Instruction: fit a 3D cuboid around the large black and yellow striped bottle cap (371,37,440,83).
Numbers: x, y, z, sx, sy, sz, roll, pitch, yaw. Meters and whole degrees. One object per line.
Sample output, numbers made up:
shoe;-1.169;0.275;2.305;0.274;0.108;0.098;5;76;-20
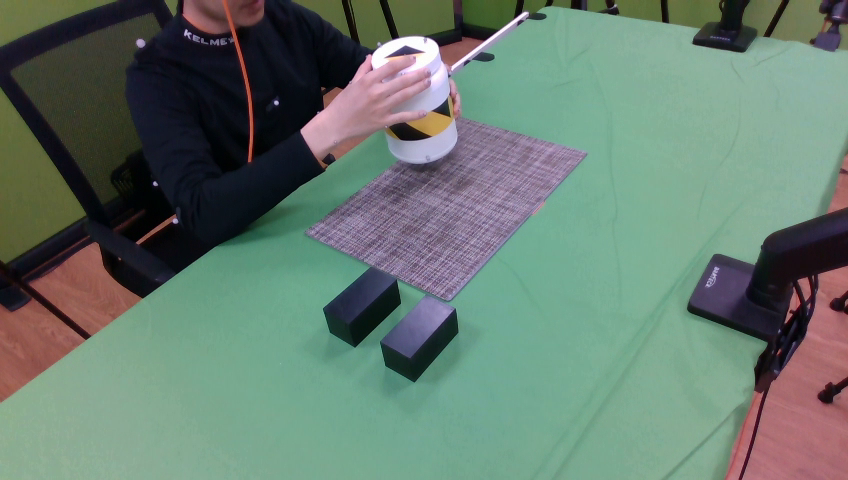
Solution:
large black and yellow striped bottle cap;-0.030;-0.301;1.004;0.115;0.019;0.114;-7;47;8

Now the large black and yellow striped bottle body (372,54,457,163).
large black and yellow striped bottle body;-0.017;-0.244;1.062;0.130;0.185;0.130;-6;45;7
